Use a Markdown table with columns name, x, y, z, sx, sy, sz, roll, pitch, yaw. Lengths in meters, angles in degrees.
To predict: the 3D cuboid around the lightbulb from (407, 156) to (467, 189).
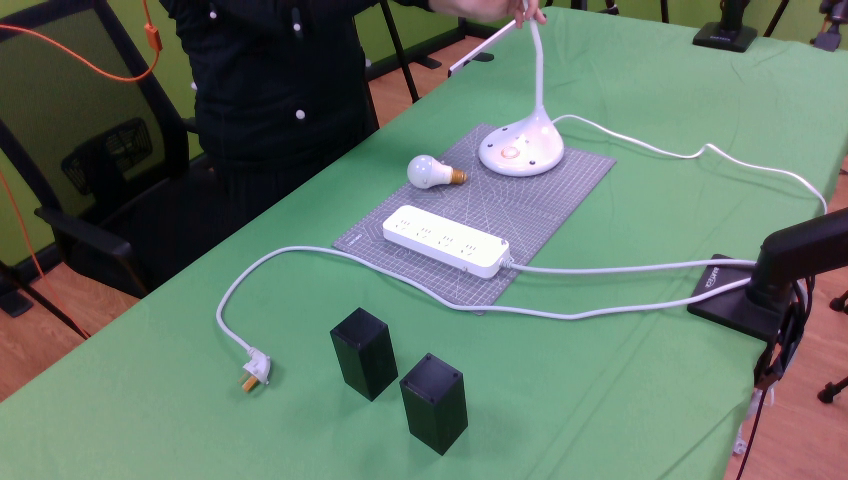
| name | x | y | z | sx | sy | sz | roll | pitch | yaw |
| --- | --- | --- | --- | --- | --- | --- | --- | --- | --- |
| lightbulb | 0.023 | -0.117 | 1.081 | 0.108 | 0.059 | 0.059 | 7 | 40 | -7 |

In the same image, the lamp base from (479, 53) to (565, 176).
| name | x | y | z | sx | sy | sz | roll | pitch | yaw |
| --- | --- | --- | --- | --- | --- | --- | --- | --- | --- |
| lamp base | 0.181 | -0.235 | 1.093 | 0.159 | 0.181 | 0.179 | 18 | 44 | 27 |

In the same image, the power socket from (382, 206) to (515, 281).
| name | x | y | z | sx | sy | sz | roll | pitch | yaw |
| --- | --- | --- | --- | --- | --- | --- | --- | --- | --- |
| power socket | 0.032 | 0.002 | 0.950 | 0.225 | 0.033 | 0.072 | 21 | 49 | 29 |

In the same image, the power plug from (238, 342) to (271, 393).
| name | x | y | z | sx | sy | sz | roll | pitch | yaw |
| --- | --- | --- | --- | --- | --- | --- | --- | --- | --- |
| power plug | -0.230 | 0.172 | 0.801 | 0.072 | 0.035 | 0.053 | 10 | 51 | 50 |
